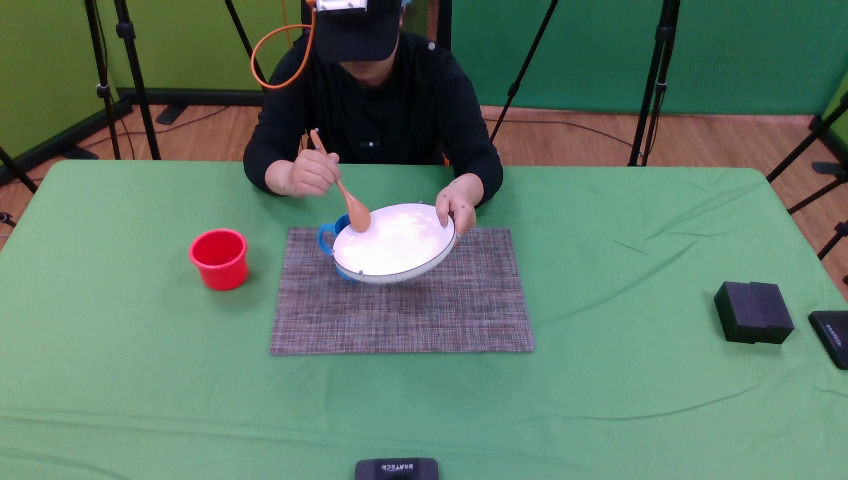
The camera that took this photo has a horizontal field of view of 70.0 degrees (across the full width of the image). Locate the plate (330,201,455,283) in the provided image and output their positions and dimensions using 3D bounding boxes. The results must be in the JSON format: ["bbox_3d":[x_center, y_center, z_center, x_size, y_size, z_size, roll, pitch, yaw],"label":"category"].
[{"bbox_3d":[-0.050,0.007,0.999,0.207,0.039,0.206,-9,34,6],"label":"plate"}]

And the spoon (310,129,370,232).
[{"bbox_3d":[-0.146,-0.100,1.034,0.041,0.021,0.194,-35,101,-28],"label":"spoon"}]

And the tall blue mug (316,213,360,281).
[{"bbox_3d":[-0.142,0.014,1.109,0.107,0.108,0.077,-5,48,-9],"label":"tall blue mug"}]
